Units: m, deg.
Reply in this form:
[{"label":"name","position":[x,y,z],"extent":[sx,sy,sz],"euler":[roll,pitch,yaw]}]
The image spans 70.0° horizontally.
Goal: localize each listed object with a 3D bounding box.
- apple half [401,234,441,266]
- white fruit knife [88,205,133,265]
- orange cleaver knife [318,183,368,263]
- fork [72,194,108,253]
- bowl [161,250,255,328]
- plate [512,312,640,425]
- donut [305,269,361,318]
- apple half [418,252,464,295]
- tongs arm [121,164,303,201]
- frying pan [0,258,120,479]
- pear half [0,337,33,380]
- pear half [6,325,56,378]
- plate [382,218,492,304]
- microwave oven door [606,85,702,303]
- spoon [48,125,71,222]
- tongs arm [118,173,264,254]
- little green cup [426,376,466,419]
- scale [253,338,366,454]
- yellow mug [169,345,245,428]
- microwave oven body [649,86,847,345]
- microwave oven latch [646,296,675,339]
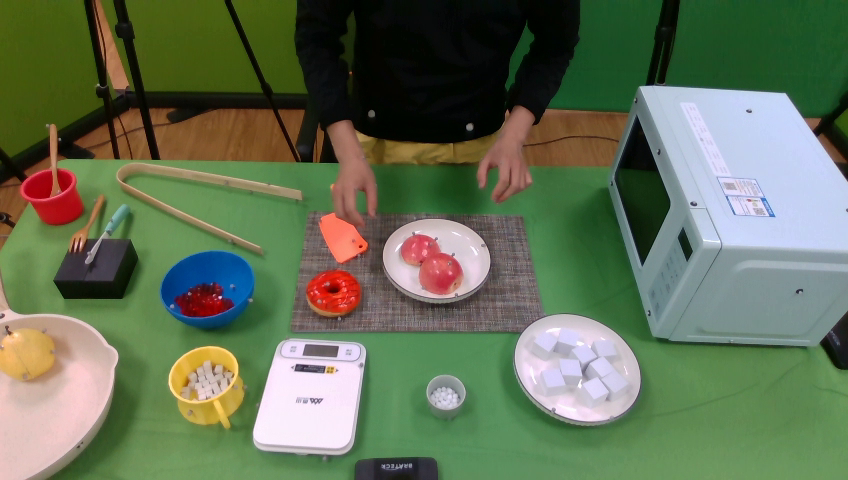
[{"label":"apple half","position":[-0.005,0.014,1.159],"extent":[0.081,0.033,0.081],"euler":[5,44,-5]},{"label":"white fruit knife","position":[-0.584,-0.013,1.129],"extent":[0.016,0.027,0.206],"euler":[0,32,-5]},{"label":"orange cleaver knife","position":[-0.173,-0.037,1.219],"extent":[0.077,0.012,0.210],"euler":[-16,51,-11]},{"label":"fork","position":[-0.634,-0.036,1.158],"extent":[0.028,0.019,0.206],"euler":[-8,32,-8]},{"label":"bowl","position":[-0.362,0.098,1.039],"extent":[0.151,0.077,0.150],"euler":[2,45,-2]},{"label":"plate","position":[0.246,0.213,0.999],"extent":[0.208,0.039,0.206],"euler":[2,46,-2]},{"label":"donut","position":[-0.160,0.094,1.075],"extent":[0.099,0.048,0.098],"euler":[4,45,-3]},{"label":"apple half","position":[0.033,0.055,1.109],"extent":[0.081,0.053,0.074],"euler":[-31,58,-28]},{"label":"tongs arm","position":[-0.444,-0.113,1.267],"extent":[0.384,0.026,0.050],"euler":[12,50,8]},{"label":"frying pan","position":[-0.647,0.164,0.936],"extent":[0.307,0.103,0.485],"euler":[-19,58,-22]},{"label":"pear half","position":[-0.631,0.184,0.921],"extent":[0.070,0.088,0.031],"euler":[29,49,19]},{"label":"pear half","position":[-0.608,0.158,0.935],"extent":[0.076,0.110,0.056],"euler":[31,51,20]},{"label":"plate","position":[0.023,0.042,1.143],"extent":[0.209,0.038,0.208],"euler":[2,46,-2]},{"label":"microwave oven door","position":[0.423,-0.094,1.140],"extent":[0.039,0.245,0.353],"euler":[2,46,-1]},{"label":"spoon","position":[-0.718,-0.131,1.188],"extent":[0.041,0.021,0.193],"euler":[-3,90,-7]},{"label":"tongs arm","position":[-0.474,-0.054,1.210],"extent":[0.386,0.028,0.028],"euler":[23,56,18]},{"label":"little green cup","position":[0.033,0.248,0.950],"extent":[0.061,0.039,0.061],"euler":[2,46,-2]},{"label":"scale","position":[-0.175,0.236,0.951],"extent":[0.149,0.032,0.199],"euler":[4,45,-1]},{"label":"yellow mug","position":[-0.322,0.230,0.922],"extent":[0.100,0.064,0.130],"euler":[-24,53,-25]},{"label":"microwave oven body","position":[0.567,-0.053,1.119],"extent":[0.326,0.261,0.439],"euler":[2,45,-1]},{"label":"microwave oven latch","position":[0.412,0.134,1.061],"extent":[0.030,0.029,0.078],"euler":[4,45,1]}]
